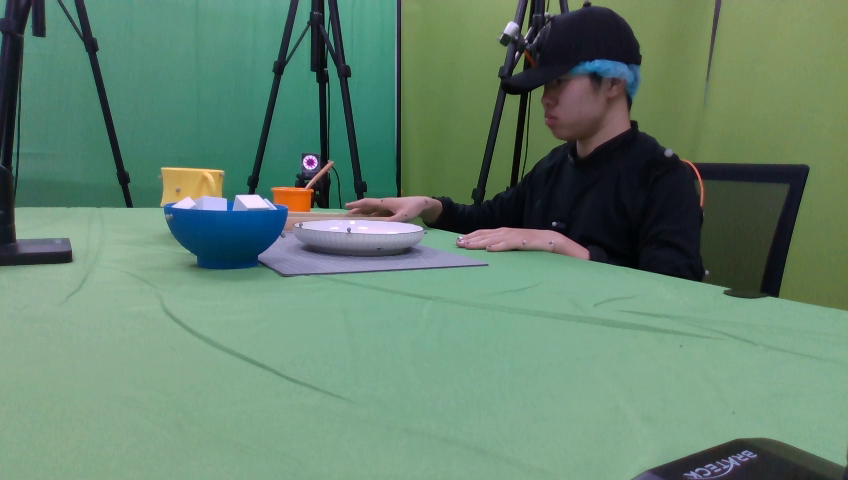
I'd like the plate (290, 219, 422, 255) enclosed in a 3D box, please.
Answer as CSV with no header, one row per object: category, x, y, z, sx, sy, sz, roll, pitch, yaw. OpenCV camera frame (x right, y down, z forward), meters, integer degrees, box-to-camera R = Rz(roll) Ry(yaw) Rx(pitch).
plate,-0.108,-0.005,0.963,0.208,0.039,0.207,3,7,0

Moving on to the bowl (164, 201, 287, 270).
bowl,-0.254,-0.006,0.782,0.151,0.077,0.151,2,8,0

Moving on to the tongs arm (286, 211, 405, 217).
tongs arm,-0.224,-0.046,1.271,0.387,0.026,0.050,0,5,-26

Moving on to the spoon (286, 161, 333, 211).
spoon,-0.262,-0.115,1.359,0.041,0.194,0.022,12,-33,38

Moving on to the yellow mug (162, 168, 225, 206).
yellow mug,-0.383,-0.087,1.026,0.130,0.064,0.100,11,11,44

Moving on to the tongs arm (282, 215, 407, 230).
tongs arm,-0.182,-0.035,1.201,0.390,0.028,0.028,-2,3,-40
